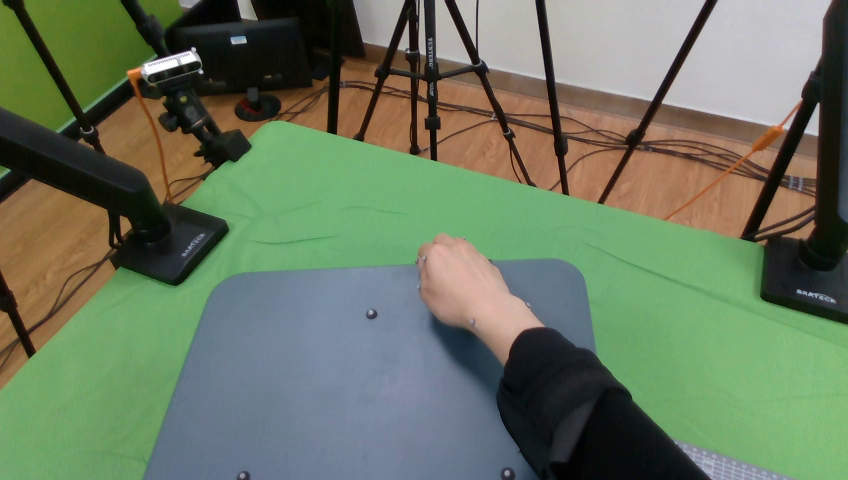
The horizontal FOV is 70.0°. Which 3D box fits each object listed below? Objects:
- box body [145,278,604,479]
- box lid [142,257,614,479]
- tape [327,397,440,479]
[{"bbox_3d":[-0.033,0.184,0.583,0.364,0.162,0.251,0,48,3],"label":"box body"},{"bbox_3d":[-0.036,0.125,0.516,0.371,0.015,0.260,-3,49,6],"label":"box lid"},{"bbox_3d":[-0.041,0.222,0.617,0.117,0.053,0.115,-1,47,1],"label":"tape"}]
